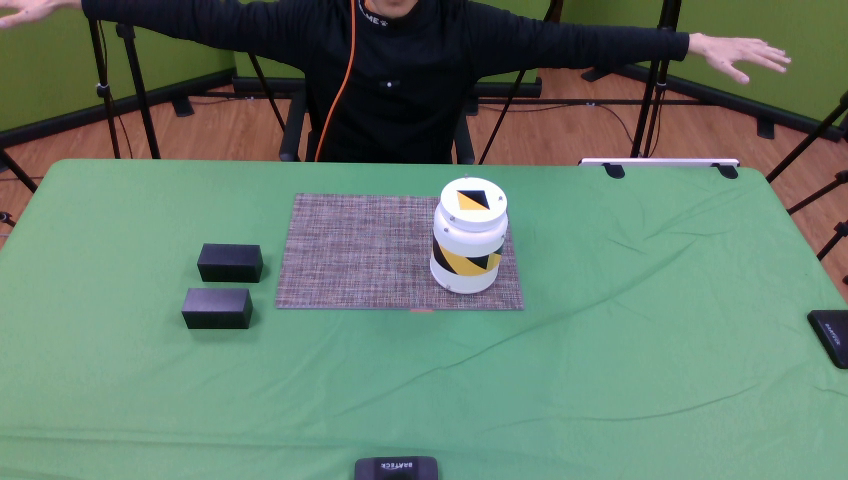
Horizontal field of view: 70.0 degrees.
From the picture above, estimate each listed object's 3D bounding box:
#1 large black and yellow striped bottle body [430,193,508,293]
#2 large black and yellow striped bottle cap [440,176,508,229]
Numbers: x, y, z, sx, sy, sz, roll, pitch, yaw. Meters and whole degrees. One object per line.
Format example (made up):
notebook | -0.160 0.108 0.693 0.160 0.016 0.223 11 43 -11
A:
large black and yellow striped bottle body | 0.080 -0.008 1.092 0.131 0.185 0.130 2 46 -2
large black and yellow striped bottle cap | 0.085 -0.066 1.032 0.115 0.019 0.114 1 47 -1
